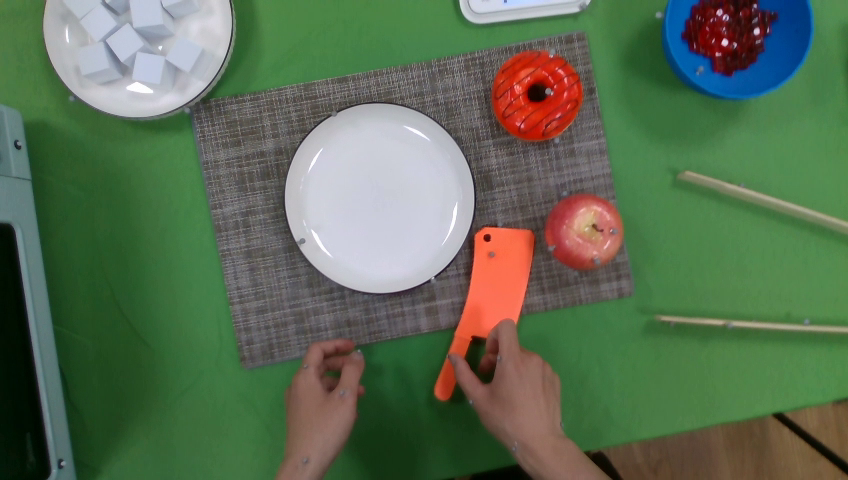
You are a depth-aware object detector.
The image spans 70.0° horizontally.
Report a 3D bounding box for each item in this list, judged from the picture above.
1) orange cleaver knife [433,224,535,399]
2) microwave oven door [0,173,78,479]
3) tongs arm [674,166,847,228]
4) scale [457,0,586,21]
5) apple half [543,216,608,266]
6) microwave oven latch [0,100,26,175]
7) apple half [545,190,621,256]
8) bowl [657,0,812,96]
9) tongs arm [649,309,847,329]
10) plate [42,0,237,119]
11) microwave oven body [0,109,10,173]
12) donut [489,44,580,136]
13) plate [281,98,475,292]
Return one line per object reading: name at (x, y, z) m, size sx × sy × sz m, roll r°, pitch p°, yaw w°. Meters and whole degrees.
orange cleaver knife at (0.067, 0.079, 0.673) m, size 0.077 × 0.012 × 0.211 m, roll 18°, pitch 89°, yaw -5°
microwave oven door at (-0.424, 0.108, 0.551) m, size 0.039 × 0.244 × 0.355 m, roll -9°, pitch 90°, yaw 1°
tongs arm at (0.461, -0.010, 0.666) m, size 0.387 × 0.028 × 0.028 m, roll 20°, pitch 84°, yaw 0°
scale at (0.102, -0.351, 0.666) m, size 0.149 × 0.031 × 0.201 m, roll -7°, pitch 91°, yaw 1°
apple half at (0.153, 0.008, 0.644) m, size 0.081 × 0.081 × 0.033 m, roll 34°, pitch 87°, yaw 1°
microwave oven latch at (-0.452, -0.109, 0.650) m, size 0.030 × 0.029 × 0.079 m, roll -7°, pitch 91°, yaw 0°
apple half at (0.175, -0.024, 0.645) m, size 0.080 × 0.075 × 0.053 m, roll 33°, pitch 87°, yaw 4°
bowl at (0.314, -0.221, 0.643) m, size 0.151 × 0.077 × 0.151 m, roll 0°, pitch 91°, yaw 1°
tongs arm at (0.445, 0.074, 0.666) m, size 0.385 × 0.026 × 0.050 m, roll 5°, pitch 88°, yaw 0°
plate at (-0.306, -0.235, 0.667) m, size 0.208 × 0.039 × 0.207 m, roll 0°, pitch 90°, yaw 0°
microwave oven body at (-0.575, 0.086, 0.556) m, size 0.326 × 0.260 × 0.441 m, roll -8°, pitch 91°, yaw 0°
donut at (0.119, -0.162, 0.658) m, size 0.099 × 0.048 × 0.099 m, roll 0°, pitch 91°, yaw 2°
plate at (-0.049, -0.048, 0.663) m, size 0.209 × 0.038 × 0.209 m, roll 0°, pitch 91°, yaw 1°
